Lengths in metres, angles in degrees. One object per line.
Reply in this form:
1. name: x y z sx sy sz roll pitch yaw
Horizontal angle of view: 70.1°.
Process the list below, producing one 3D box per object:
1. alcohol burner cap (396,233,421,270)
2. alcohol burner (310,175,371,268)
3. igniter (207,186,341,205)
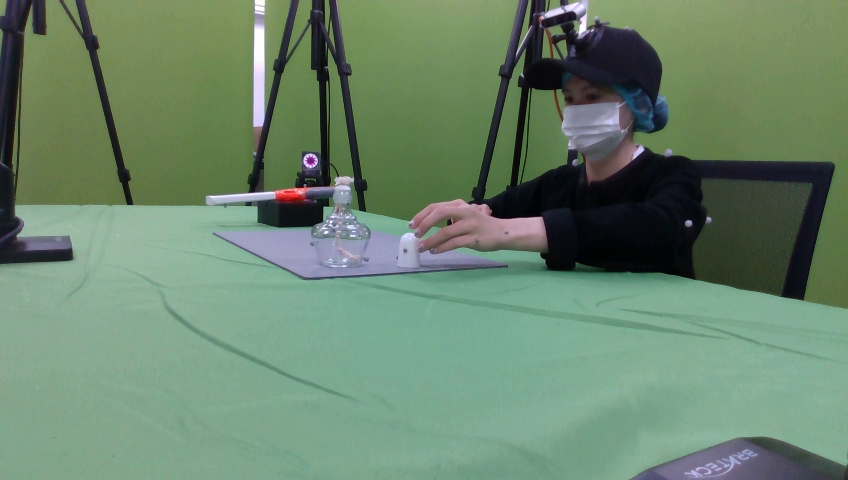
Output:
1. alcohol burner cap: -0.020 0.014 0.795 0.034 0.048 0.034 3 6 0
2. alcohol burner: -0.107 -0.024 0.778 0.078 0.119 0.078 3 5 0
3. igniter: -0.300 -0.091 1.241 0.278 0.025 0.057 -8 11 -35
